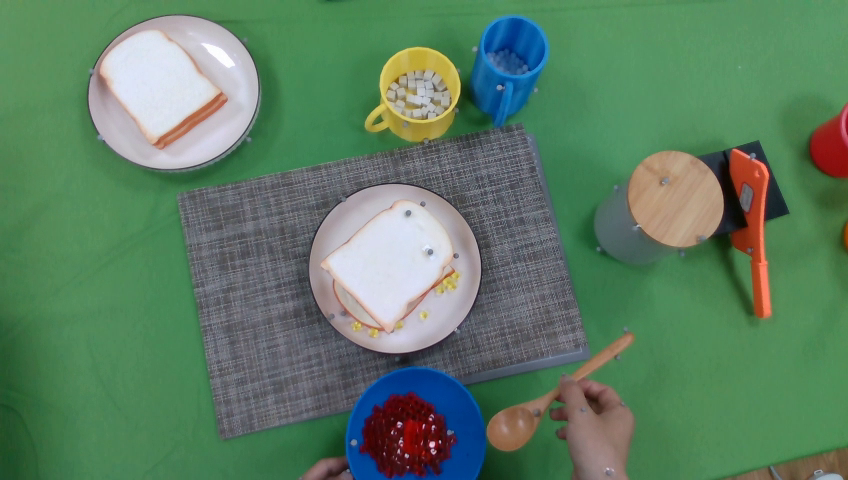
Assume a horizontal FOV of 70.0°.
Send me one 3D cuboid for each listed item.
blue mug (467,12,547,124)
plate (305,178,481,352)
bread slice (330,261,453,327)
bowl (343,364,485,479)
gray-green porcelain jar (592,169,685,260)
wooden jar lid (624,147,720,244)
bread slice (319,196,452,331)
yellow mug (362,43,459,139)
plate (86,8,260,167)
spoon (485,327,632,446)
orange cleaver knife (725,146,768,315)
[{"bbox_3d":[0.099,-0.204,0.757,0.082,0.106,0.116,9,78,-2],"label":"blue mug"},{"bbox_3d":[-0.036,0.029,0.730,0.209,0.038,0.208,1,79,-4],"label":"plate"},{"bbox_3d":[-0.044,0.040,0.730,0.104,0.019,0.131,44,77,5],"label":"bread slice"},{"bbox_3d":[-0.012,0.214,0.679,0.151,0.077,0.150,1,79,-4],"label":"bowl"},{"bbox_3d":[0.266,-0.034,0.724,0.106,0.127,0.105,1,78,-4],"label":"gray-green porcelain jar"},{"bbox_3d":[0.269,-0.047,0.662,0.108,0.021,0.108,1,81,-6],"label":"wooden jar lid"},{"bbox_3d":[-0.036,0.016,0.673,0.107,0.018,0.134,43,72,-2],"label":"bread slice"},{"bbox_3d":[-0.021,-0.178,0.763,0.131,0.064,0.099,-33,82,-8],"label":"yellow mug"},{"bbox_3d":[-0.308,-0.187,0.758,0.208,0.039,0.206,1,79,-4],"label":"plate"},{"bbox_3d":[0.146,0.151,0.638,0.194,0.022,0.041,-36,57,-7],"label":"spoon"},{"bbox_3d":[0.399,-0.011,0.751,0.012,0.076,0.212,-13,106,-6],"label":"orange cleaver knife"}]
